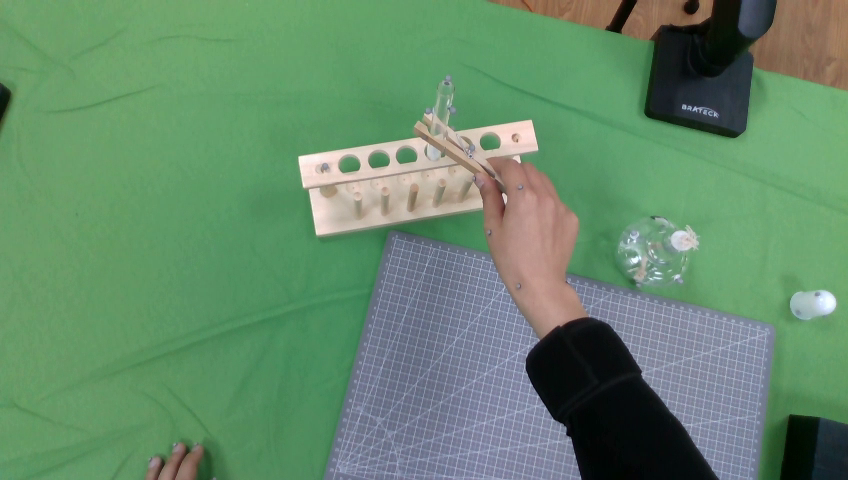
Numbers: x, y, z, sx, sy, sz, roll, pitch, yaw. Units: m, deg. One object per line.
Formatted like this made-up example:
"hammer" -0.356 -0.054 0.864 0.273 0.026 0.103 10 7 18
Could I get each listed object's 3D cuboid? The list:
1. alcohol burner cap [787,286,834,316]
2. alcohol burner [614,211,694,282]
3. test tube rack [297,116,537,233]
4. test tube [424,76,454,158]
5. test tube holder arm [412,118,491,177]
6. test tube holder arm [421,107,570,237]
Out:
"alcohol burner cap" 0.435 0.067 0.677 0.034 0.048 0.033 1 78 -2
"alcohol burner" 0.248 0.004 0.639 0.078 0.119 0.077 1 79 -5
"test tube rack" -0.004 -0.068 0.648 0.243 0.085 0.066 -10 79 -6
"test tube" 0.012 -0.106 0.565 0.017 0.151 0.017 1 73 -4
"test tube holder arm" 0.027 -0.087 0.571 0.088 0.015 0.010 32 79 3
"test tube holder arm" 0.067 -0.064 0.569 0.178 0.015 0.013 39 80 4
